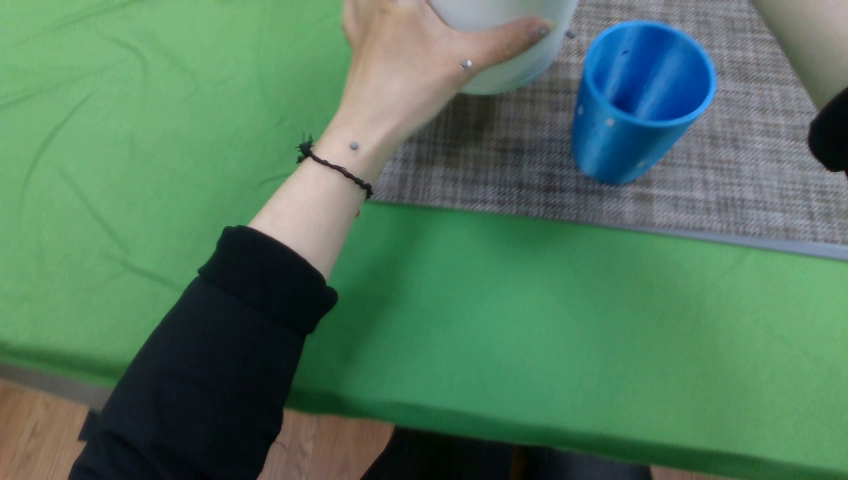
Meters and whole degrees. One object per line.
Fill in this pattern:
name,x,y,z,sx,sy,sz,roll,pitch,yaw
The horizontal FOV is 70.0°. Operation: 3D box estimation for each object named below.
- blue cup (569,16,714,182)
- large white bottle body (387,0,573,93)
blue cup,0.145,-0.091,0.436,0.092,0.101,0.092,0,67,1
large white bottle body,0.042,-0.198,0.378,0.131,0.185,0.129,2,67,-4
